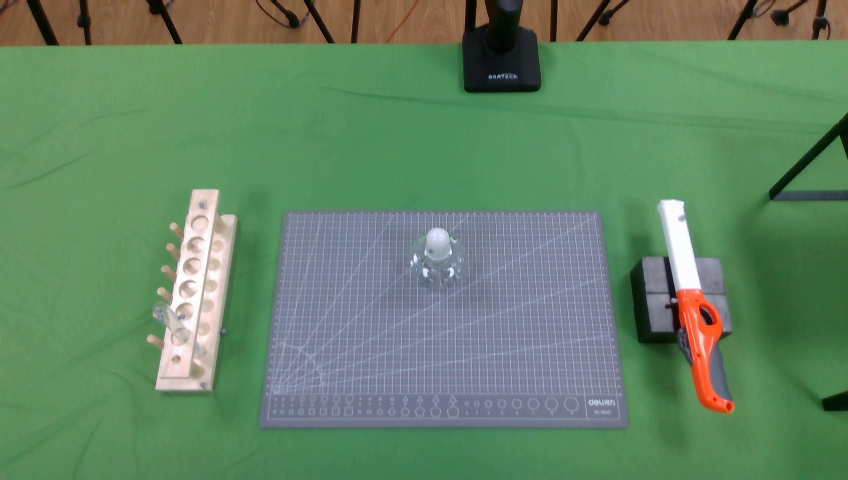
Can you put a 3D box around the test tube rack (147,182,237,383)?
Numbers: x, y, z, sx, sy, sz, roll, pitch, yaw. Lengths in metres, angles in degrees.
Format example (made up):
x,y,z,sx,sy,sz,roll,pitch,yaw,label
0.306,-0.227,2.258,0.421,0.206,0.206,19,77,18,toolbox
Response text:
x,y,z,sx,sy,sz,roll,pitch,yaw,label
-0.297,0.052,0.768,0.067,0.086,0.240,0,66,0,test tube rack

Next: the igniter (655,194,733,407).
x,y,z,sx,sy,sz,roll,pitch,yaw,label
0.328,0.066,0.746,0.057,0.025,0.274,0,64,-3,igniter

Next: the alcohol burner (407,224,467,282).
x,y,z,sx,sy,sz,roll,pitch,yaw,label
0.016,0.009,0.770,0.078,0.120,0.077,-1,67,2,alcohol burner

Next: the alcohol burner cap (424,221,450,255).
x,y,z,sx,sy,sz,roll,pitch,yaw,label
0.015,-0.005,0.737,0.034,0.048,0.033,-1,67,2,alcohol burner cap

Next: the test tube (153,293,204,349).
x,y,z,sx,sy,sz,roll,pitch,yaw,label
-0.278,0.096,0.695,0.017,0.151,0.017,2,62,-3,test tube
